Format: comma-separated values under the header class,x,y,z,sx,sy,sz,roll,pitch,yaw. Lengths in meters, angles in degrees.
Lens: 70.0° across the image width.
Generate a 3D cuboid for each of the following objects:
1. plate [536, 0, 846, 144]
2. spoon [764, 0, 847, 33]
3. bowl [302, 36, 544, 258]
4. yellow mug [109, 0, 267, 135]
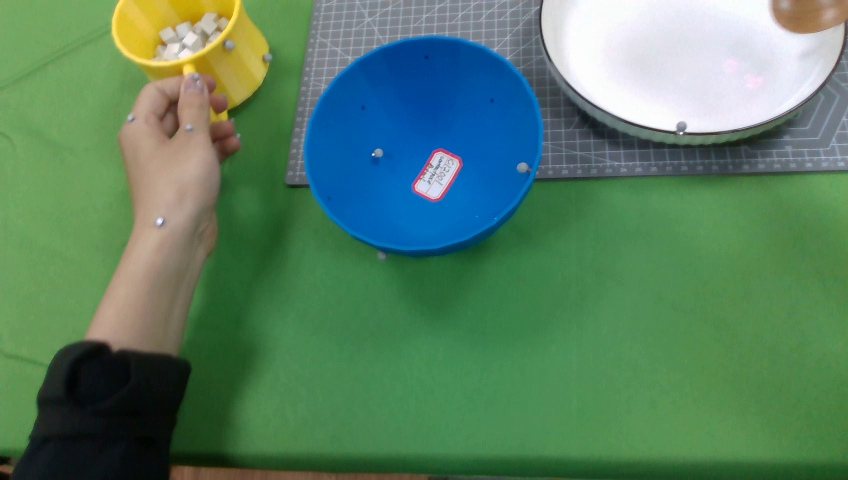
class,x,y,z,sx,sy,sz,roll,pitch,yaw
plate,0.186,-0.155,0.443,0.209,0.038,0.207,-3,66,8
spoon,0.232,-0.151,0.245,0.021,0.193,0.041,-27,86,-31
bowl,0.004,-0.050,0.405,0.151,0.077,0.150,-3,70,9
yellow mug,-0.177,-0.140,0.473,0.100,0.064,0.130,-20,69,-2
